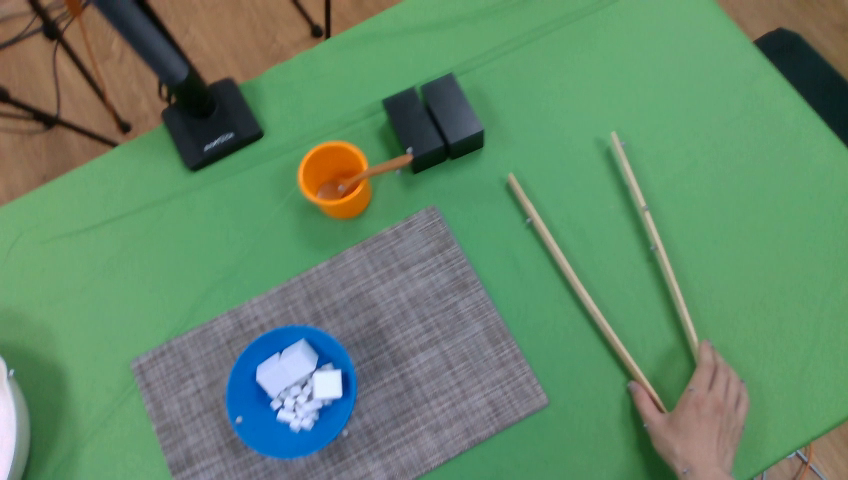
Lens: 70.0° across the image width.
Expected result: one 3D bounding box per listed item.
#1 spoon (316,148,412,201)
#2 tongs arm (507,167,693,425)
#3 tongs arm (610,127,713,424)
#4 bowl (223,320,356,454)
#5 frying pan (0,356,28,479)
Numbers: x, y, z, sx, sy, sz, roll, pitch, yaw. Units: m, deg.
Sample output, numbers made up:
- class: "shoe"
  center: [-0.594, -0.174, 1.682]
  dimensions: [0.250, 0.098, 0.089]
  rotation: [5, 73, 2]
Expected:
- class: "spoon"
  center: [-0.081, -0.085, 0.768]
  dimensions: [0.022, 0.193, 0.041]
  rotation: [22, 67, -34]
- class: "tongs arm"
  center: [0.209, 0.063, 0.766]
  dimensions: [0.028, 0.028, 0.385]
  rotation: [-28, 73, -7]
- class: "tongs arm"
  center: [0.284, 0.033, 0.764]
  dimensions: [0.051, 0.027, 0.382]
  rotation: [-17, 74, 0]
- class: "bowl"
  center: [-0.150, 0.176, 0.724]
  dimensions: [0.151, 0.077, 0.150]
  rotation: [-1, 73, 4]
- class: "frying pan"
  center: [-0.551, 0.319, 0.698]
  dimensions: [0.306, 0.103, 0.484]
  rotation: [-44, 66, -8]
